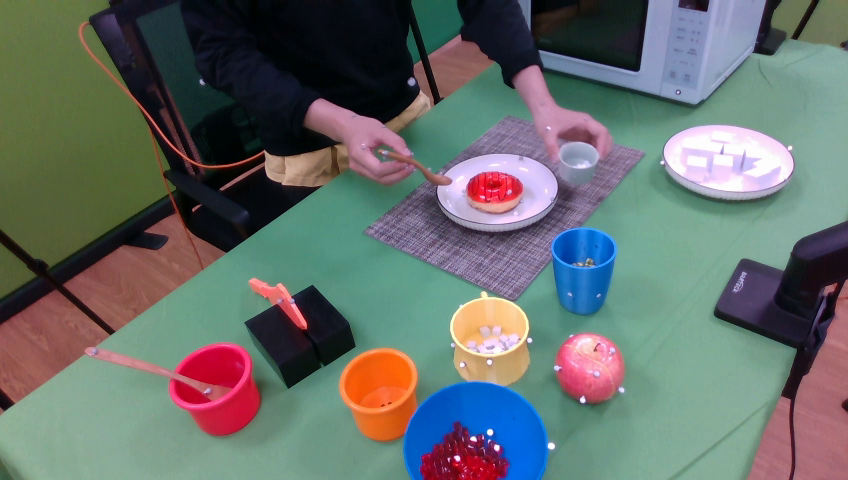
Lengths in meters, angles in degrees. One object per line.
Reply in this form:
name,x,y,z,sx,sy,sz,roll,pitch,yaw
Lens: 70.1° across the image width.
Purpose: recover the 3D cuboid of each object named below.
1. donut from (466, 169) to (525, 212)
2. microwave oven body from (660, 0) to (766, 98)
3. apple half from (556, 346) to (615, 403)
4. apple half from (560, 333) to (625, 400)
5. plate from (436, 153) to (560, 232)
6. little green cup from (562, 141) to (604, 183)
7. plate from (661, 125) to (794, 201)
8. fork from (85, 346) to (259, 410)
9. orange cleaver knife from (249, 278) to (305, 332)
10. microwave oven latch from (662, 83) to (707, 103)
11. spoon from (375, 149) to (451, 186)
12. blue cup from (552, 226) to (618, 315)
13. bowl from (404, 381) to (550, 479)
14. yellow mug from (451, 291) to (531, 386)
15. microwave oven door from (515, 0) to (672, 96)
donut,0.120,-0.084,1.019,0.099,0.048,0.098,-4,39,3
microwave oven body,0.472,-0.513,1.317,0.438,0.261,0.327,26,51,34
apple half,0.181,0.167,0.709,0.080,0.081,0.033,29,51,35
apple half,0.209,0.147,0.730,0.080,0.075,0.053,26,47,38
plate,0.125,-0.078,1.029,0.209,0.038,0.208,-4,40,4
little green cup,0.248,-0.120,0.952,0.062,0.039,0.061,2,61,-4
plate,0.513,-0.128,1.035,0.207,0.039,0.206,-4,40,4
fork,-0.298,0.167,0.728,0.209,0.018,0.028,28,46,-24
orange cleaver knife,-0.210,0.089,0.855,0.012,0.077,0.210,-28,15,-25
microwave oven latch,0.517,-0.296,1.204,0.078,0.029,0.030,27,52,35
spoon,-0.015,-0.109,0.895,0.041,0.195,0.021,29,95,31
blue cup,0.218,0.047,0.825,0.092,0.101,0.092,-6,39,5
bowl,0.058,0.235,0.645,0.151,0.077,0.150,-4,39,4
yellow mug,0.086,0.120,0.786,0.100,0.064,0.130,-7,39,2
microwave oven door,0.344,-0.455,1.259,0.353,0.245,0.039,26,51,33
